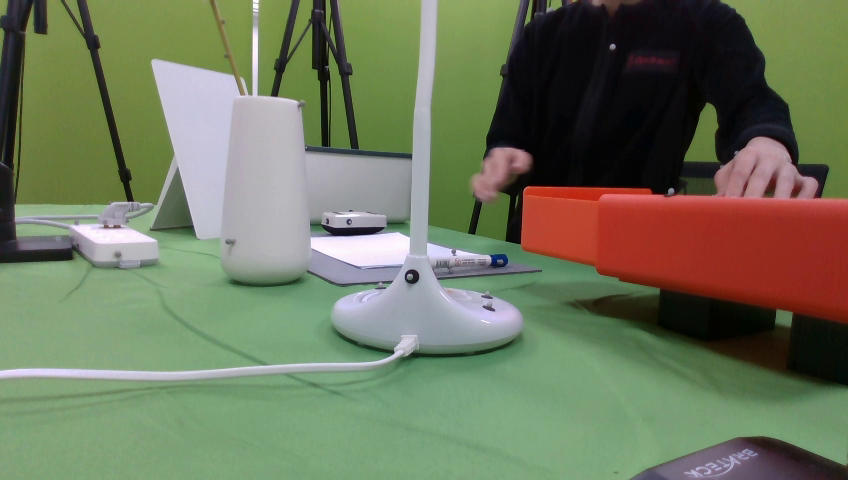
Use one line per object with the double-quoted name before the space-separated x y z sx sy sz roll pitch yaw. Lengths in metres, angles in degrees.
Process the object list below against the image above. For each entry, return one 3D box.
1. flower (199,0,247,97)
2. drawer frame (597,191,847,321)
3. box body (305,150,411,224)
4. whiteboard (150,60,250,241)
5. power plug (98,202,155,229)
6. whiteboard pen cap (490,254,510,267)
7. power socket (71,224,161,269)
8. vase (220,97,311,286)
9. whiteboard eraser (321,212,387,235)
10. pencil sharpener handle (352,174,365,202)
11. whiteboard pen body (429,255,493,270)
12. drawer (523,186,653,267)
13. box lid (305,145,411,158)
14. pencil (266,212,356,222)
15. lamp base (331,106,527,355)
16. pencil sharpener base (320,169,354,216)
"flower" -0.187 -0.133 0.648 0.038 0.362 0.044 -1 21 43
"drawer frame" 0.293 0.002 0.504 0.203 0.082 0.212 -1 6 -31
"box body" -0.230 -0.126 1.371 0.366 0.160 0.253 -2 8 -33
"whiteboard" -0.408 -0.139 1.093 0.143 0.305 0.218 -15 -1 26
"power plug" -0.416 -0.027 0.848 0.073 0.052 0.035 0 8 -28
"whiteboard pen cap" 0.098 0.028 0.815 0.033 0.018 0.018 -1 8 -39
"power socket" -0.408 0.004 0.793 0.072 0.032 0.225 -2 8 -38
"vase" -0.172 -0.052 0.662 0.098 0.200 0.098 3 8 0
"whiteboard eraser" -0.128 -0.031 1.108 0.113 0.042 0.055 -3 8 -38
"pencil sharpener handle" -0.156 -0.125 1.450 0.031 0.068 0.036 2 19 -11
"whiteboard pen body" 0.053 0.028 0.777 0.141 0.017 0.017 -1 8 -39
"drawer" 0.238 -0.011 0.599 0.195 0.073 0.210 -1 8 -29
"box lid" -0.228 -0.200 1.361 0.373 0.015 0.262 -1 8 -33
"pencil" -0.244 -0.049 1.319 0.195 0.012 0.012 4 7 -12
"lamp base" 0.006 -0.012 0.478 0.161 0.180 0.179 2 10 2
"pencil sharpener base" -0.207 -0.113 1.438 0.077 0.107 0.061 2 6 -11
